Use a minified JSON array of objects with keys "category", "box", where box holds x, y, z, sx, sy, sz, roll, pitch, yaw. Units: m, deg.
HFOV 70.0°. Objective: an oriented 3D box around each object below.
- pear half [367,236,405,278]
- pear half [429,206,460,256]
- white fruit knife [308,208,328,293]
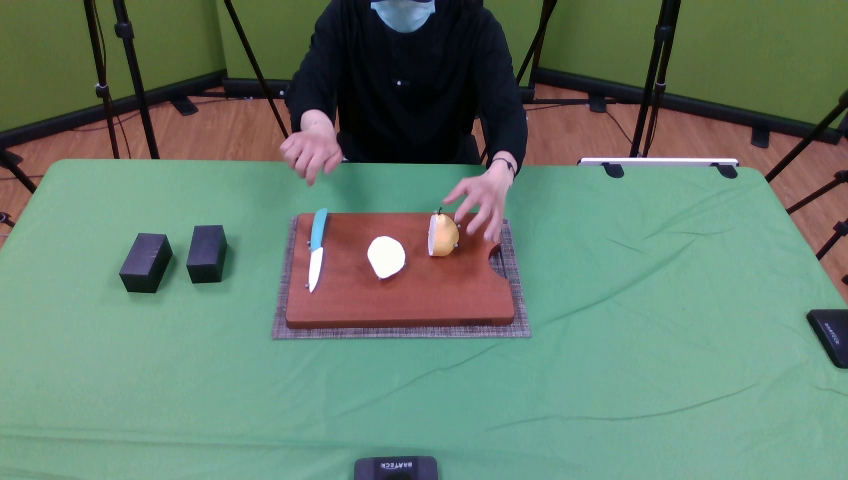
[{"category":"pear half","box":[-0.072,0.036,1.106,0.070,0.031,0.087,18,59,-7]},{"category":"pear half","box":[0.038,-0.021,1.117,0.056,0.110,0.076,-6,50,-9]},{"category":"white fruit knife","box":[-0.201,0.016,1.128,0.027,0.016,0.206,-9,47,8]}]
